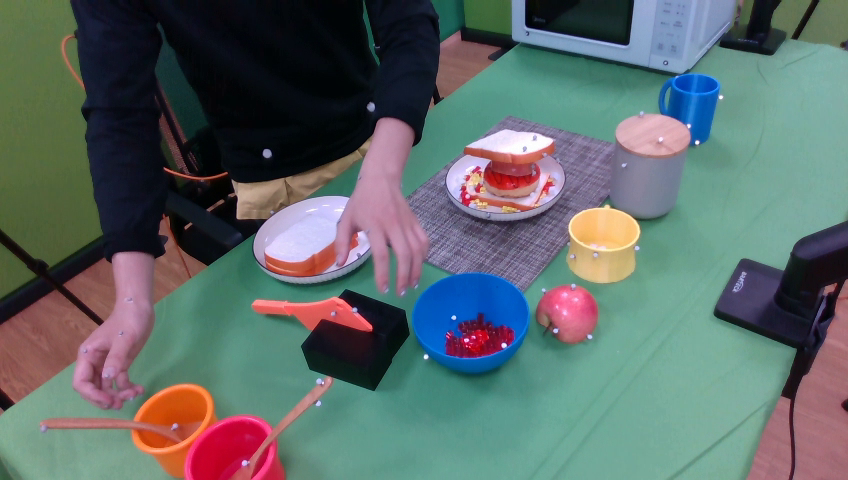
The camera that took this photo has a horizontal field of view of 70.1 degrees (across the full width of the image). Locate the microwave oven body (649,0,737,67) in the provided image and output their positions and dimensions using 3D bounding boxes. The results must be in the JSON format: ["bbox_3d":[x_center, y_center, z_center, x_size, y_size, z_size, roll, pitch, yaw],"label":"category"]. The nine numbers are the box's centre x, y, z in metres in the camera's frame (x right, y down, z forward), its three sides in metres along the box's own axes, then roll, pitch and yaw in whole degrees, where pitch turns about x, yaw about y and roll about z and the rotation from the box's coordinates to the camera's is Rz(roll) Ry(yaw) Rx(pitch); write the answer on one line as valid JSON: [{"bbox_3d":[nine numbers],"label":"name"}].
[{"bbox_3d":[0.475,-0.602,1.411,0.438,0.261,0.327,23,50,32],"label":"microwave oven body"}]

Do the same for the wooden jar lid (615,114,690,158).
[{"bbox_3d":[0.347,-0.155,0.923,0.108,0.021,0.108,-3,44,4],"label":"wooden jar lid"}]

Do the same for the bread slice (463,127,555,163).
[{"bbox_3d":[0.145,-0.154,0.973,0.105,0.019,0.130,-28,33,-34],"label":"bread slice"}]

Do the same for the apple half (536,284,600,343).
[{"bbox_3d":[0.196,0.091,0.815,0.075,0.053,0.080,-22,42,-20],"label":"apple half"}]

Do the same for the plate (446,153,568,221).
[{"bbox_3d":[0.142,-0.097,1.045,0.207,0.039,0.206,-4,40,4],"label":"plate"}]

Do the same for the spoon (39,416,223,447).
[{"bbox_3d":[-0.320,0.209,0.677,0.021,0.195,0.041,-53,41,15],"label":"spoon"}]

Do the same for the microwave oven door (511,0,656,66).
[{"bbox_3d":[0.350,-0.539,1.348,0.353,0.245,0.039,24,50,31],"label":"microwave oven door"}]

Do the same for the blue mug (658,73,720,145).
[{"bbox_3d":[0.483,-0.250,1.127,0.082,0.106,0.115,-26,44,-19],"label":"blue mug"}]

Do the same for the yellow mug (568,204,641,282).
[{"bbox_3d":[0.269,-0.004,0.905,0.099,0.064,0.130,6,41,16],"label":"yellow mug"}]

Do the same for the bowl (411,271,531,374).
[{"bbox_3d":[0.062,0.119,0.780,0.151,0.077,0.150,-4,40,4],"label":"bowl"}]

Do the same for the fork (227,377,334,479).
[{"bbox_3d":[-0.163,0.216,0.647,0.207,0.019,0.028,-49,41,16],"label":"fork"}]

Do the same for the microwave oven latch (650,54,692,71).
[{"bbox_3d":[0.531,-0.386,1.301,0.078,0.029,0.030,25,51,33],"label":"microwave oven latch"}]

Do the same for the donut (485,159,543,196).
[{"bbox_3d":[0.151,-0.112,1.018,0.099,0.048,0.098,-4,41,4],"label":"donut"}]

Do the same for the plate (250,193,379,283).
[{"bbox_3d":[-0.174,0.000,0.984,0.209,0.038,0.208,-4,41,4],"label":"plate"}]

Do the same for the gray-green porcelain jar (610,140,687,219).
[{"bbox_3d":[0.354,-0.106,0.964,0.106,0.127,0.105,-4,41,4],"label":"gray-green porcelain jar"}]

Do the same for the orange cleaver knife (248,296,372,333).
[{"bbox_3d":[-0.159,0.103,0.827,0.210,0.078,0.012,-3,44,38],"label":"orange cleaver knife"}]

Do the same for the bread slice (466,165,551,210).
[{"bbox_3d":[0.141,-0.093,1.041,0.133,0.018,0.107,8,42,20],"label":"bread slice"}]
